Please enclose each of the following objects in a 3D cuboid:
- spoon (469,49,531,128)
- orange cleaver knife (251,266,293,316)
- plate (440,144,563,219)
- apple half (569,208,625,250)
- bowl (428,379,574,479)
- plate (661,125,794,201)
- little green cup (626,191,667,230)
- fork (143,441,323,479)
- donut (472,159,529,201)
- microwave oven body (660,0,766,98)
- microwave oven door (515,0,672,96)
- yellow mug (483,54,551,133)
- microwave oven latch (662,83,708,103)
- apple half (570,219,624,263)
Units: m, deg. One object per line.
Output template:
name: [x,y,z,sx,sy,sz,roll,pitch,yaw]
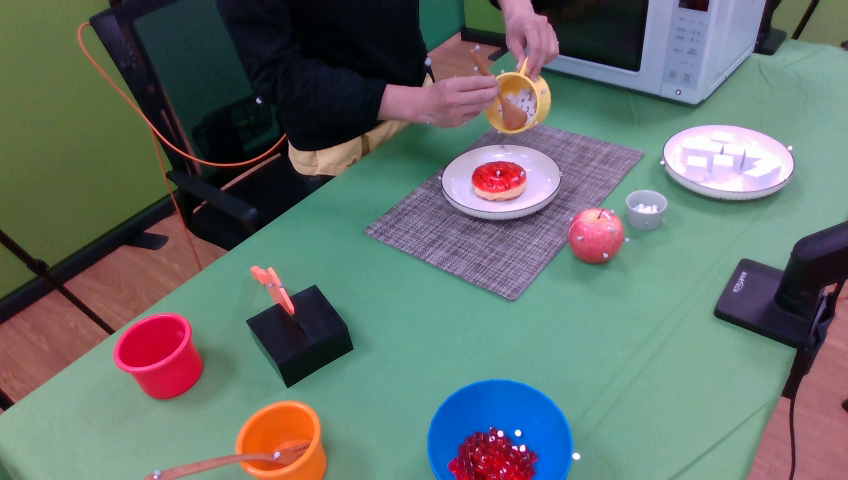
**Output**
spoon: [0.119,-0.236,0.960,0.041,0.195,0.021,-27,48,21]
orange cleaver knife: [-0.221,0.071,0.873,0.012,0.077,0.210,-25,11,-21]
plate: [0.134,-0.098,1.051,0.209,0.038,0.208,-4,40,4]
apple half: [0.262,-0.014,0.913,0.080,0.075,0.053,5,37,20]
bowl: [0.082,0.233,0.644,0.151,0.077,0.150,-4,40,4]
plate: [0.513,-0.128,1.035,0.207,0.039,0.206,-4,40,4]
little green cup: [0.352,-0.046,0.963,0.061,0.039,0.061,-4,40,4]
fork: [-0.189,0.231,0.631,0.028,0.018,0.209,35,13,37]
donut: [0.132,-0.105,1.043,0.099,0.048,0.098,-5,38,4]
microwave oven body: [0.472,-0.513,1.317,0.438,0.261,0.327,26,51,34]
microwave oven door: [0.343,-0.455,1.259,0.353,0.245,0.039,26,51,33]
yellow mug: [0.163,-0.250,1.028,0.099,0.131,0.064,24,26,21]
microwave oven latch: [0.517,-0.296,1.204,0.078,0.029,0.030,27,52,35]
apple half: [0.250,0.009,0.885,0.081,0.081,0.033,7,39,17]
